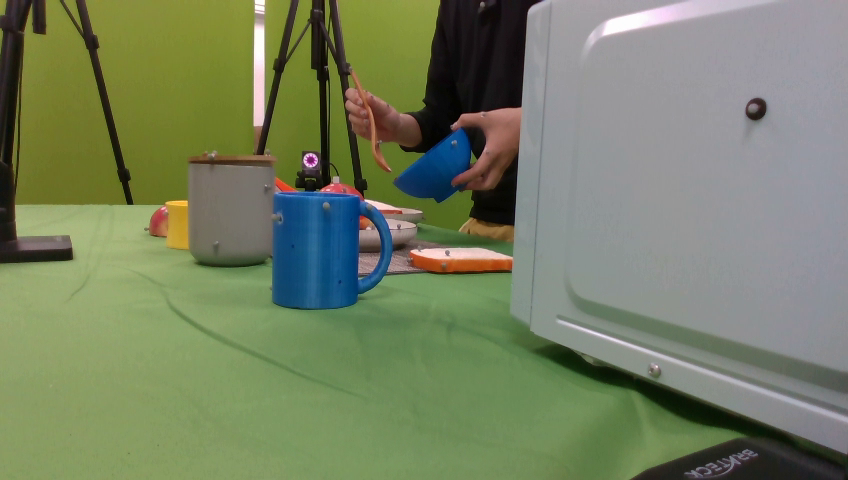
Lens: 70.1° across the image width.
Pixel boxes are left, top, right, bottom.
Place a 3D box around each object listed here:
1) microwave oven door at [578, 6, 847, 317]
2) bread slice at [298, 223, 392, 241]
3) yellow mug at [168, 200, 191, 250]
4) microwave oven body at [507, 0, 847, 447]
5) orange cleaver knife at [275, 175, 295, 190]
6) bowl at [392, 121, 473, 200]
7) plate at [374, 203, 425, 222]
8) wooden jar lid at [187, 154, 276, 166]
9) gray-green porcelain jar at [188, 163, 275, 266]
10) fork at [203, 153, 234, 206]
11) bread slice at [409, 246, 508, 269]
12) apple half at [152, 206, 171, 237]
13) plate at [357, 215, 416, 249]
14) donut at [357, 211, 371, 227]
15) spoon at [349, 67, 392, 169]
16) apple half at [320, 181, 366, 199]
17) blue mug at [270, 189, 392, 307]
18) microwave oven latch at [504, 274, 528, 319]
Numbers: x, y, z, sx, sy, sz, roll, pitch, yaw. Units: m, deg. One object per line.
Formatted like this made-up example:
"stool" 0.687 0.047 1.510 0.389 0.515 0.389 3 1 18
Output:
"microwave oven door" 0.294 -0.067 0.570 0.358 0.243 0.039 -3 9 -31
"bread slice" -0.121 -0.015 0.970 0.106 0.018 0.135 9 9 41
"yellow mug" -0.320 -0.023 0.904 0.130 0.064 0.100 8 10 36
"microwave oven body" 0.331 -0.042 0.425 0.444 0.260 0.324 -2 8 -31
"orange cleaver knife" -0.283 -0.087 1.343 0.212 0.077 0.012 24 -17 -41
"bowl" 0.028 -0.119 1.003 0.151 0.077 0.151 -38 8 7
"plate" -0.102 -0.053 1.299 0.209 0.038 0.209 2 8 0
"wooden jar lid" -0.244 -0.097 0.771 0.108 0.020 0.108 -1 7 0
"gray-green porcelain jar" -0.246 -0.034 0.780 0.106 0.126 0.106 2 7 0
"fork" -0.480 -0.136 1.411 0.028 0.018 0.207 0 -34 -1
"bread slice" 0.048 0.022 0.816 0.132 0.019 0.104 0 7 -24
"apple half" -0.415 -0.034 1.017 0.081 0.053 0.074 1 10 -9
"plate" -0.116 -0.014 0.967 0.208 0.039 0.207 2 7 0
"donut" -0.132 -0.041 0.959 0.099 0.048 0.099 3 8 0
"spoon" -0.092 -0.207 1.022 0.021 0.193 0.042 -19 -9 14
"apple half" -0.130 -0.077 0.952 0.081 0.033 0.081 2 15 0
"blue mug" -0.090 0.005 0.588 0.117 0.106 0.082 1 7 -11
"microwave oven latch" 0.100 0.041 0.471 0.079 0.029 0.030 -1 7 -27
